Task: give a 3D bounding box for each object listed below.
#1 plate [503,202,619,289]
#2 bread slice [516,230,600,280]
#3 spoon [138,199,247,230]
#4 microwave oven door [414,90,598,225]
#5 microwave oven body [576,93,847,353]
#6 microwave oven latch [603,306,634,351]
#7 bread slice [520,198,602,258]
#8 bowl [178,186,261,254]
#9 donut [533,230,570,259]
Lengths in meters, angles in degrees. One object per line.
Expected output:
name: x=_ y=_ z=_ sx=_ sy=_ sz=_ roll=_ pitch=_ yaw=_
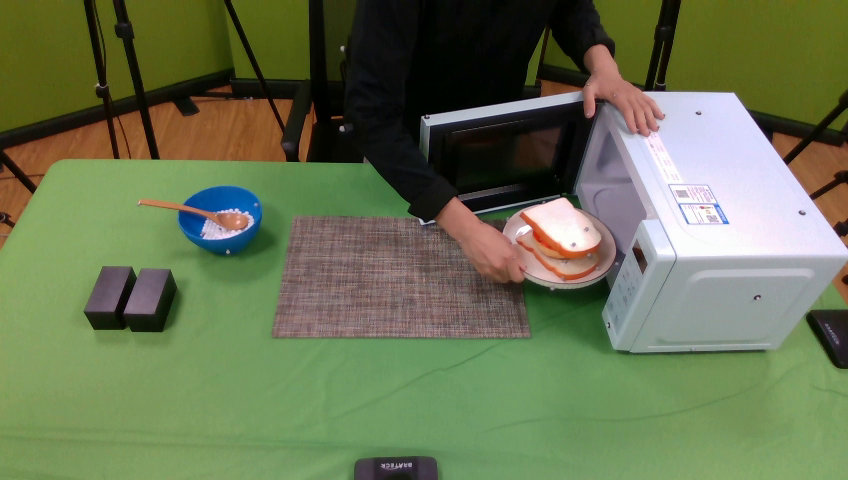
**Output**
plate: x=0.248 y=0.013 z=1.113 sx=0.208 sy=0.039 sz=0.206 roll=1 pitch=46 yaw=0
bread slice: x=0.253 y=0.017 z=1.110 sx=0.107 sy=0.018 sz=0.133 roll=-29 pitch=53 yaw=-25
spoon: x=-0.431 y=-0.053 z=1.135 sx=0.194 sy=0.022 sz=0.041 roll=15 pitch=48 yaw=-20
microwave oven door: x=0.158 y=-0.161 z=1.195 sx=0.356 sy=0.245 sz=0.039 roll=-12 pitch=48 yaw=-16
microwave oven body: x=0.475 y=-0.042 z=1.109 sx=0.326 sy=0.261 sz=0.438 roll=-1 pitch=45 yaw=-4
microwave oven latch: x=0.332 y=0.153 z=1.044 sx=0.030 sy=0.029 sz=0.078 roll=0 pitch=45 yaw=-3
bread slice: x=0.250 y=-0.022 z=1.067 sx=0.105 sy=0.019 sz=0.130 roll=-21 pitch=51 yaw=-26
bowl: x=-0.383 y=-0.026 z=1.158 sx=0.151 sy=0.077 sz=0.150 roll=2 pitch=46 yaw=-2
donut: x=0.246 y=-0.006 z=1.093 sx=0.099 sy=0.048 sz=0.098 roll=-1 pitch=45 yaw=1
